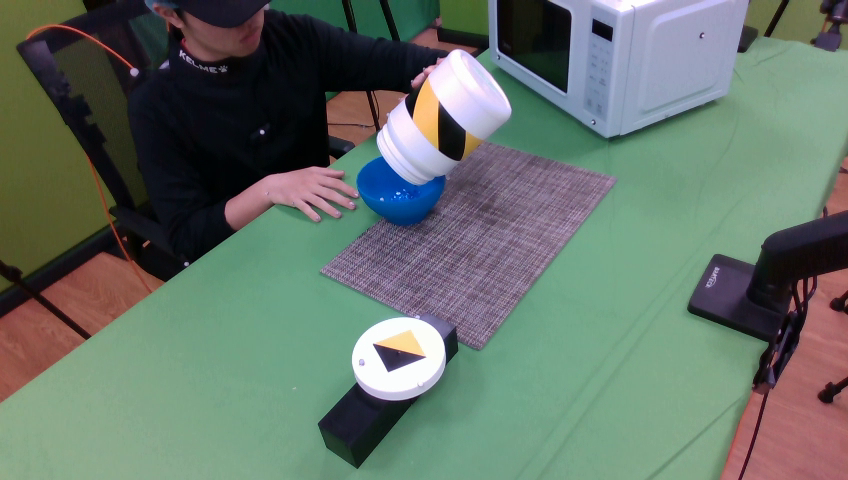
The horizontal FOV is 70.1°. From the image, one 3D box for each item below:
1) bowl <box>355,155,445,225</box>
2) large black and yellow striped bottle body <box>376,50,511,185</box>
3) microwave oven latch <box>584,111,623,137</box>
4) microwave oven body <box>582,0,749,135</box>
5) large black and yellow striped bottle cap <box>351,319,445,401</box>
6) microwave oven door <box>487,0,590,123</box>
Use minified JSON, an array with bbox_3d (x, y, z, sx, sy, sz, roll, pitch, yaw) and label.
[{"bbox_3d":[-0.035,-0.078,1.017,0.151,0.077,0.150,-4,40,4],"label":"bowl"},{"bbox_3d":[0.027,-0.181,0.924,0.183,0.132,0.130,-39,32,25],"label":"large black and yellow striped bottle body"},{"bbox_3d":[0.337,-0.222,1.142,0.030,0.029,0.078,-21,42,-14],"label":"microwave oven latch"},{"bbox_3d":[0.382,-0.444,1.246,0.327,0.261,0.437,-22,42,-16],"label":"microwave oven body"},{"bbox_3d":[-0.031,0.143,0.735,0.115,0.019,0.114,-3,40,3],"label":"large black and yellow striped bottle cap"},{"bbox_3d":[0.232,-0.420,1.230,0.039,0.245,0.352,-22,43,-16],"label":"microwave oven door"}]
